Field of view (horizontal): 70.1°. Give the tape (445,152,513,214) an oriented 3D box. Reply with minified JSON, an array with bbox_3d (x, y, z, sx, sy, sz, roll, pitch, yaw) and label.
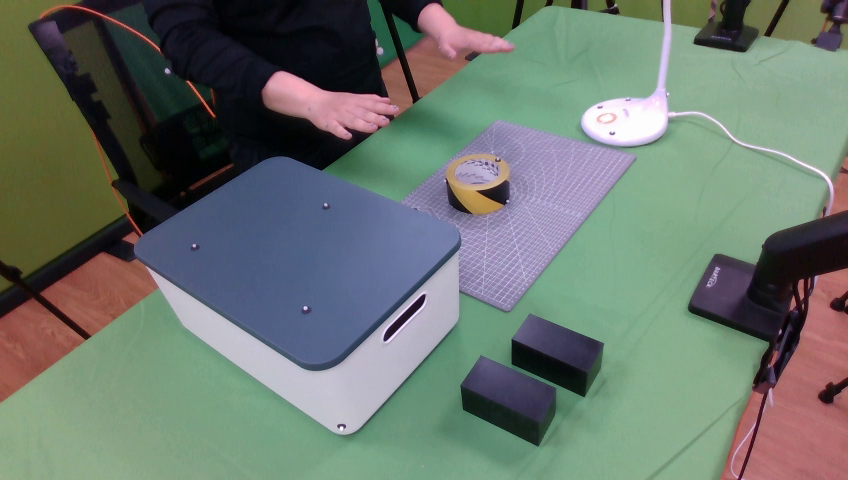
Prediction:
[{"bbox_3d":[0.095,-0.099,1.042,0.117,0.053,0.116,-4,41,4],"label":"tape"}]

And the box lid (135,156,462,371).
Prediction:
[{"bbox_3d":[-0.162,0.004,0.765,0.368,0.015,0.264,24,49,31],"label":"box lid"}]

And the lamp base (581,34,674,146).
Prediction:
[{"bbox_3d":[0.392,-0.291,1.129,0.180,0.181,0.159,-11,41,-8],"label":"lamp base"}]

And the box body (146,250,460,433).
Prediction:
[{"bbox_3d":[-0.156,0.058,0.814,0.361,0.161,0.255,24,49,31],"label":"box body"}]
